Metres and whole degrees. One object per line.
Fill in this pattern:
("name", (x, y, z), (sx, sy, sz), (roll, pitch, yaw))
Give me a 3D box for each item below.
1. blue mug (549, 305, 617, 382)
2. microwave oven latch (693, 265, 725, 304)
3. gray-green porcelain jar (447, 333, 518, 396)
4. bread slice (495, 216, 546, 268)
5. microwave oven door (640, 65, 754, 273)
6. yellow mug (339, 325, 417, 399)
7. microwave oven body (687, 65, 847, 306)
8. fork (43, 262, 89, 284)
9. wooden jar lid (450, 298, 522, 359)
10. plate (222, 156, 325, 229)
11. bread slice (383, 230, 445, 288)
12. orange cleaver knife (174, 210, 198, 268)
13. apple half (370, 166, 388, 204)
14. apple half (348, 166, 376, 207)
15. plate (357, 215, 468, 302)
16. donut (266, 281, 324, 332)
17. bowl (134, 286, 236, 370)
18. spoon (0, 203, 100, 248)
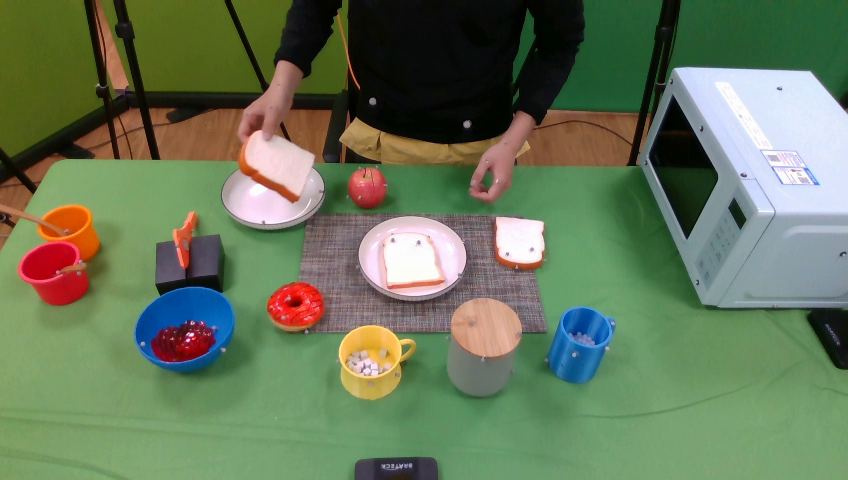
("blue mug", (0.269, 0.165, 0.997), (0.116, 0.106, 0.082), (-19, 51, -21))
("microwave oven latch", (0.522, 0.081, 1.115), (0.030, 0.029, 0.078), (2, 46, -1))
("gray-green porcelain jar", (0.091, 0.178, 0.960), (0.106, 0.127, 0.105), (2, 46, -2))
("bread slice", (0.194, 0.002, 1.204), (0.105, 0.019, 0.131), (6, 45, 2))
("microwave oven door", (0.523, -0.147, 1.193), (0.039, 0.245, 0.353), (0, 47, -3))
("yellow mug", (-0.072, 0.190, 0.978), (0.131, 0.064, 0.099), (-17, 50, -20))
("microwave oven body", (0.669, -0.111, 1.176), (0.326, 0.261, 0.439), (0, 46, -3))
("fork", (-0.599, 0.053, 1.013), (0.207, 0.019, 0.028), (-14, 31, 45))
("wooden jar lid", (0.093, 0.135, 0.914), (0.108, 0.021, 0.107), (3, 48, -3))
("plate", (-0.308, -0.095, 1.251), (0.209, 0.038, 0.208), (2, 47, -2))
("bread slice", (-0.028, 0.035, 1.145), (0.107, 0.018, 0.133), (-8, 48, -12))
("orange cleaver knife", (-0.436, -0.006, 1.127), (0.012, 0.077, 0.210), (-13, 19, -8))
("apple half", (-0.091, -0.115, 1.260), (0.033, 0.082, 0.080), (-9, 48, -6))
("apple half", (-0.130, -0.109, 1.254), (0.053, 0.075, 0.080), (-10, 50, -6))
("plate", (-0.022, 0.037, 1.141), (0.208, 0.039, 0.206), (2, 46, -2))
("donut", (-0.222, 0.115, 1.049), (0.099, 0.048, 0.098), (2, 45, -2))
("bowl", (-0.377, 0.155, 0.981), (0.151, 0.077, 0.150), (2, 46, -2))
("spoon", (-0.683, -0.031, 1.088), (0.195, 0.021, 0.041), (33, 33, -38))
